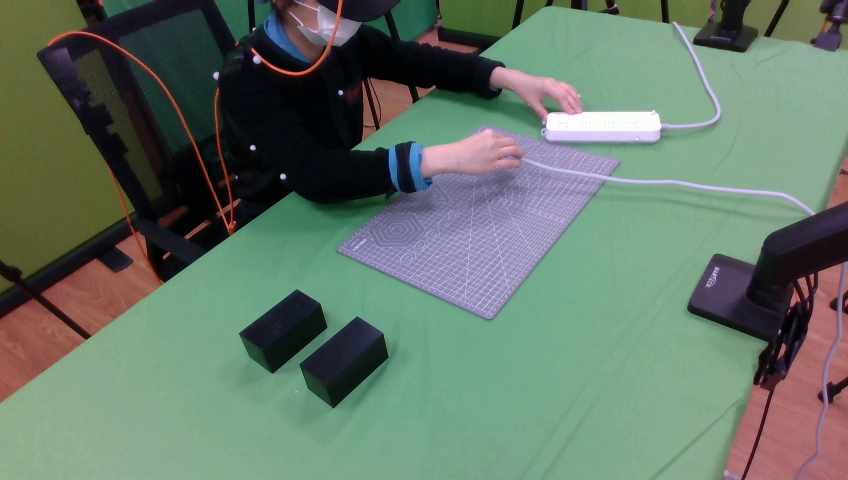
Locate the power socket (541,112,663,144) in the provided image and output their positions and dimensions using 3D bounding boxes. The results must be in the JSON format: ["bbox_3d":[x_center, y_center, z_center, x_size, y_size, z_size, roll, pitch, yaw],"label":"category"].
[{"bbox_3d":[0.342,-0.217,1.164,0.226,0.033,0.072,3,42,12],"label":"power socket"}]

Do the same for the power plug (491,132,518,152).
[{"bbox_3d":[0.150,-0.190,1.103,0.052,0.035,0.072,-6,42,31],"label":"power plug"}]
